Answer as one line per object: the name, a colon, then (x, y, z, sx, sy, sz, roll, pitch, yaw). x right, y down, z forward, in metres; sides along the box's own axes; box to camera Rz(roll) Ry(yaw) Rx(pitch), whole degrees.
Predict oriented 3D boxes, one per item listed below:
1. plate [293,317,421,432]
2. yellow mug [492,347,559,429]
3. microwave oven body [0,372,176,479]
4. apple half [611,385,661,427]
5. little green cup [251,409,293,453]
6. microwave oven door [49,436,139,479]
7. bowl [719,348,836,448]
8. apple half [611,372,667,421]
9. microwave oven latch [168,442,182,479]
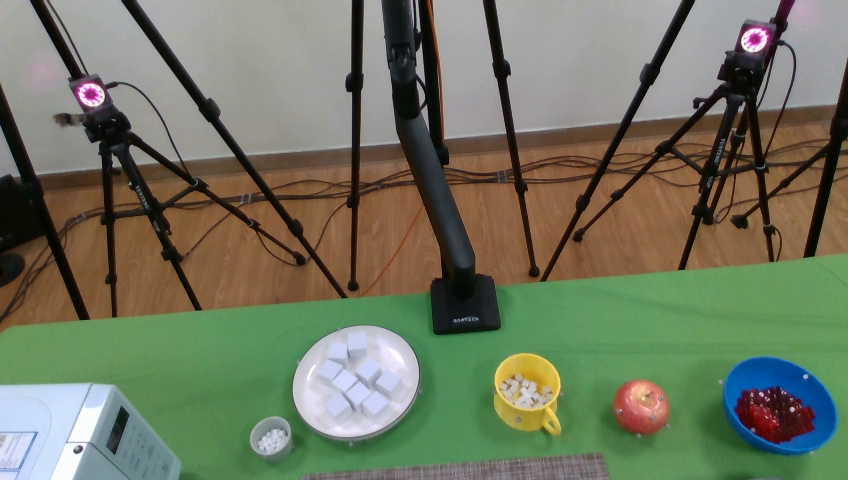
plate: (-0.108, 0.220, 0.992, 0.207, 0.039, 0.205, -2, 48, 3)
yellow mug: (0.165, 0.235, 0.936, 0.100, 0.064, 0.129, -26, 52, -18)
microwave oven body: (-0.534, 0.409, 0.701, 0.326, 0.263, 0.437, -2, 49, 3)
apple half: (0.306, 0.256, 0.898, 0.080, 0.082, 0.033, 30, 54, 28)
little green cup: (-0.231, 0.296, 0.931, 0.061, 0.039, 0.061, -1, 49, 2)
microwave oven door: (-0.390, 0.432, 0.661, 0.039, 0.246, 0.352, -2, 48, 3)
bowl: (0.505, 0.243, 0.890, 0.151, 0.077, 0.150, -3, 48, 3)
apple half: (0.331, 0.234, 0.918, 0.080, 0.075, 0.053, 27, 52, 30)
microwave oven latch: (-0.377, 0.337, 0.883, 0.030, 0.030, 0.078, -1, 49, 4)
